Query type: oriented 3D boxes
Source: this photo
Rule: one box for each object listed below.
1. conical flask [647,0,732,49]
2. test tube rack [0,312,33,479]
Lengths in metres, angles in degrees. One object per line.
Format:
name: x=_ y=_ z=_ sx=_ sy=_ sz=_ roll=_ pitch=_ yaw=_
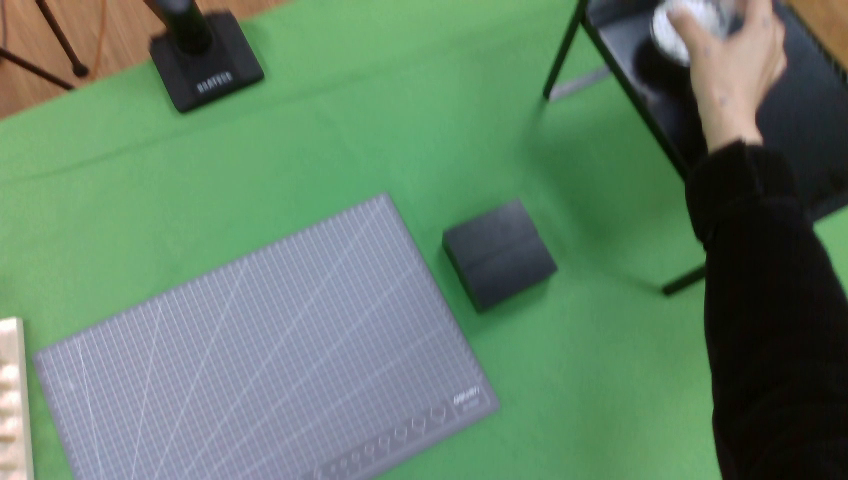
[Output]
conical flask: x=0.252 y=-0.230 z=0.530 sx=0.075 sy=0.122 sz=0.075 roll=0 pitch=76 yaw=-1
test tube rack: x=-0.470 y=0.193 z=0.629 sx=0.067 sy=0.085 sz=0.241 roll=-13 pitch=76 yaw=-5
